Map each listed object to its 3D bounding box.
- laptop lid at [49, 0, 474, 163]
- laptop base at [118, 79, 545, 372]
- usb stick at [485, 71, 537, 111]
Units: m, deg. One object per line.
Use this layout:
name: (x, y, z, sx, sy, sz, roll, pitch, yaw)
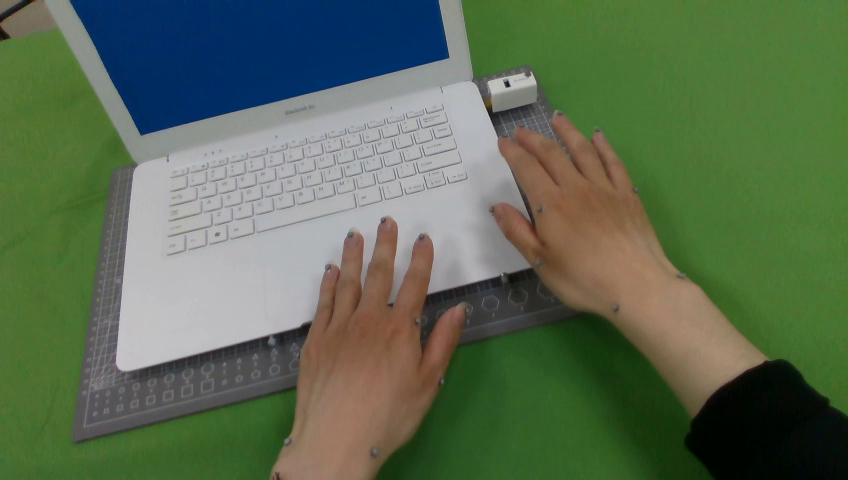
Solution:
laptop lid: (-0.141, -0.210, 0.550, 0.357, 0.244, 0.013, -16, 36, 0)
laptop base: (-0.094, -0.026, 0.550, 0.354, 0.023, 0.233, -14, 56, 0)
usb stick: (0.079, -0.143, 0.588, 0.059, 0.027, 0.021, -14, 54, 3)
